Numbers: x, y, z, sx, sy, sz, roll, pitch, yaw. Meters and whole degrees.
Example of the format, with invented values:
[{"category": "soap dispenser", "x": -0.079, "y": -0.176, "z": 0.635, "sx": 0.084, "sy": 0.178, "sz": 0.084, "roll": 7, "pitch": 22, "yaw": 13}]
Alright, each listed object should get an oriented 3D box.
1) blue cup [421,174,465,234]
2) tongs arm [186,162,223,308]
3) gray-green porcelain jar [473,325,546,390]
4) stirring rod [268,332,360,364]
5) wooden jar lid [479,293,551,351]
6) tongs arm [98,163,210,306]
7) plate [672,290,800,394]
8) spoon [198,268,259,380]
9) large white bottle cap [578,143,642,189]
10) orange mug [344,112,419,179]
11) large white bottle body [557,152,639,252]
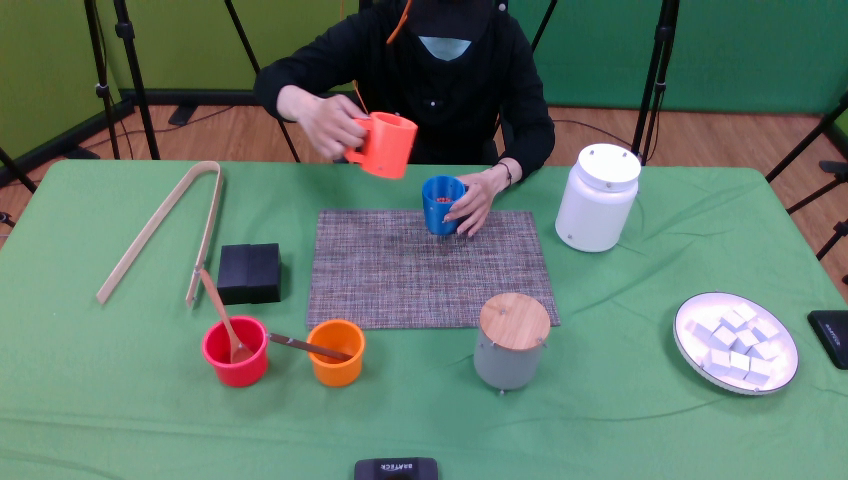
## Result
[{"category": "blue cup", "x": 0.036, "y": -0.066, "z": 1.201, "sx": 0.092, "sy": 0.101, "sz": 0.092, "roll": 0, "pitch": 47, "yaw": 0}, {"category": "tongs arm", "x": -0.436, "y": -0.024, "z": 1.181, "sx": 0.051, "sy": 0.027, "sz": 0.382, "roll": -3, "pitch": 45, "yaw": 1}, {"category": "gray-green porcelain jar", "x": 0.134, "y": 0.170, "z": 0.969, "sx": 0.106, "sy": 0.127, "sz": 0.105, "roll": 2, "pitch": 46, "yaw": -2}, {"category": "stirring rod", "x": -0.167, "y": 0.169, "z": 0.941, "sx": 0.177, "sy": 0.006, "sz": 0.014, "roll": 26, "pitch": 26, "yaw": -40}, {"category": "wooden jar lid", "x": 0.137, "y": 0.127, "z": 0.925, "sx": 0.108, "sy": 0.021, "sz": 0.107, "roll": 1, "pitch": 47, "yaw": -1}, {"category": "tongs arm", "x": -0.520, "y": -0.026, "z": 1.185, "sx": 0.028, "sy": 0.028, "sz": 0.385, "roll": 4, "pitch": 45, "yaw": 13}, {"category": "plate", "x": 0.533, "y": 0.178, "z": 1.050, "sx": 0.208, "sy": 0.039, "sz": 0.206, "roll": 2, "pitch": 46, "yaw": -2}, {"category": "spoon", "x": -0.313, "y": 0.133, "z": 0.962, "sx": 0.041, "sy": 0.021, "sz": 0.194, "roll": -24, "pitch": 96, "yaw": -21}, {"category": "large white bottle cap", "x": 0.344, "y": -0.139, "z": 1.123, "sx": 0.115, "sy": 0.018, "sz": 0.114, "roll": 2, "pitch": 46, "yaw": -2}, {"category": "orange mug", "x": -0.078, "y": -0.174, "z": 1.088, "sx": 0.127, "sy": 0.101, "sz": 0.083, "roll": 9, "pitch": 24, "yaw": -32}, {"category": "large white bottle body", "x": 0.340, "y": -0.081, "z": 1.185, "sx": 0.131, "sy": 0.185, "sz": 0.130, "roll": 2, "pitch": 46, "yaw": -1}]
